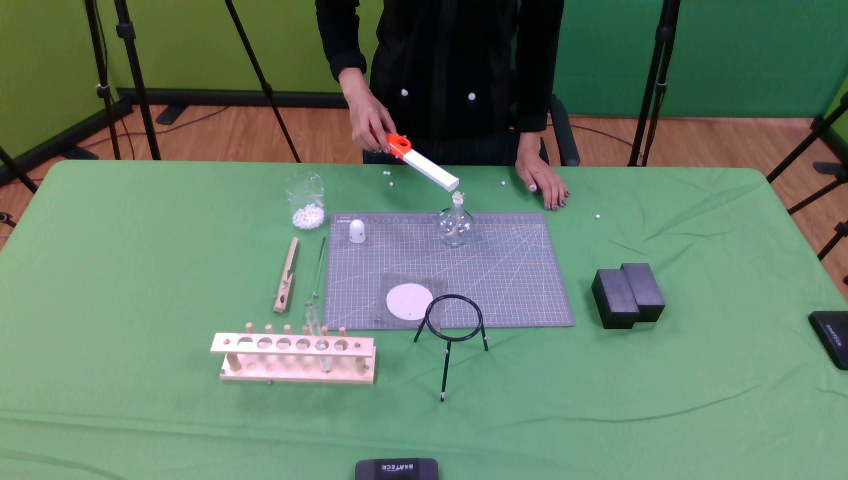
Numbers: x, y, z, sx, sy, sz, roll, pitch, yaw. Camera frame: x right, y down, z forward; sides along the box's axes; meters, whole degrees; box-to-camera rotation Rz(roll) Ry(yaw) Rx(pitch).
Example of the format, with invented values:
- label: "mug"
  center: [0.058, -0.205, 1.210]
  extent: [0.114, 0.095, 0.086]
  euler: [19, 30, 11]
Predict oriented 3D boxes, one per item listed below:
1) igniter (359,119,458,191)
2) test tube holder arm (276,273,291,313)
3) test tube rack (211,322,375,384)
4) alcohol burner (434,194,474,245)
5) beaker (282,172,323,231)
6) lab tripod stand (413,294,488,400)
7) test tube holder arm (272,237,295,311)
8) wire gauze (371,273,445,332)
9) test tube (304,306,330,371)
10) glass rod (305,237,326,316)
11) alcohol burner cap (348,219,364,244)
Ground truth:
- label: "igniter"
  center: [-0.040, -0.176, 1.218]
  extent: [0.057, 0.025, 0.275]
  euler: [-36, 56, -28]
- label: "test tube holder arm"
  center: [-0.253, 0.093, 1.094]
  extent: [0.010, 0.015, 0.087]
  euler: [28, 39, -24]
- label: "test tube rack"
  center: [-0.202, 0.176, 0.969]
  extent: [0.242, 0.085, 0.066]
  euler: [3, 46, -2]
- label: "alcohol burner"
  center: [0.061, -0.046, 1.183]
  extent: [0.078, 0.119, 0.077]
  euler: [3, 47, -3]
- label: "beaker"
  center: [-0.234, -0.073, 1.199]
  extent: [0.084, 0.101, 0.074]
  euler: [24, 50, 17]
- label: "lab tripod stand"
  center: [0.044, 0.159, 0.972]
  extent: [0.148, 0.132, 0.147]
  euler: [2, 44, -2]
- label: "test tube holder arm"
  center: [-0.258, 0.059, 1.123]
  extent: [0.013, 0.015, 0.177]
  euler: [27, 39, -25]
- label: "wire gauze"
  center: [-0.028, 0.108, 1.100]
  extent: [0.125, 0.011, 0.121]
  euler: [7, 45, 4]
- label: "test tube"
  center: [-0.162, 0.153, 0.925]
  extent: [0.017, 0.151, 0.017]
  euler: [-2, 44, 2]
- label: "glass rod"
  center: [-0.202, 0.063, 1.131]
  extent: [0.008, 0.008, 0.198]
  euler: [3, 44, 0]
- label: "alcohol burner cap"
  center: [-0.134, -0.019, 1.190]
  extent: [0.034, 0.048, 0.033]
  euler: [2, 46, -2]
